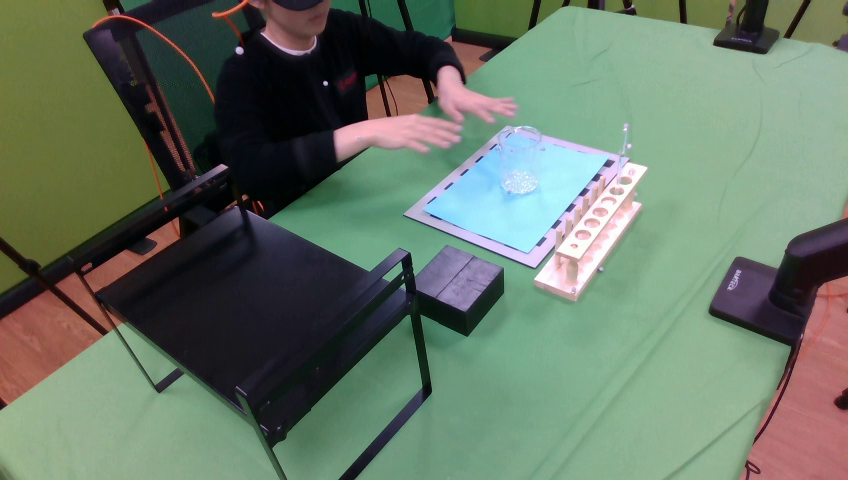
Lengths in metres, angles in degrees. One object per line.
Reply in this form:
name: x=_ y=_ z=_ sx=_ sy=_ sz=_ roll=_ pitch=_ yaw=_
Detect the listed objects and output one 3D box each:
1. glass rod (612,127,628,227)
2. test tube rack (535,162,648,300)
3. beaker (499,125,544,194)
glass rod: x=0.285 y=-0.086 z=0.882 sx=0.008 sy=0.201 sz=0.008 roll=-6 pitch=50 yaw=7
test tube rack: x=0.257 y=-0.024 z=0.916 sx=0.066 sy=0.085 sz=0.243 roll=22 pitch=49 yaw=30
beaker: x=0.168 y=-0.138 z=1.046 sx=0.074 sy=0.101 sz=0.083 roll=-8 pitch=40 yaw=0
